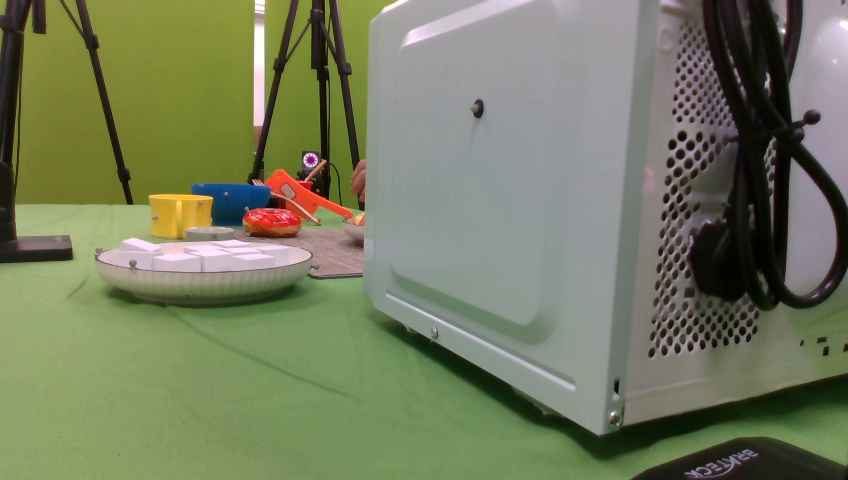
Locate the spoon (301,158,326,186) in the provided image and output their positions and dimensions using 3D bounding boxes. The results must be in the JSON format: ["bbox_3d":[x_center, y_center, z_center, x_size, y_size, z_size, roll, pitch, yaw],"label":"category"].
[{"bbox_3d":[-0.320,-0.160,1.646,0.041,0.022,0.194,8,54,33],"label":"spoon"}]

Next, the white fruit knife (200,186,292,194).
[{"bbox_3d":[-0.399,-0.111,1.368,0.208,0.016,0.027,-4,-19,-30],"label":"white fruit knife"}]

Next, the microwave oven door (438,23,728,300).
[{"bbox_3d":[0.181,-0.072,0.621,0.358,0.243,0.039,-2,8,-29],"label":"microwave oven door"}]

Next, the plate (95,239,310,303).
[{"bbox_3d":[-0.224,0.031,0.629,0.208,0.039,0.207,2,8,0],"label":"plate"}]

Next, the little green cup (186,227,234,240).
[{"bbox_3d":[-0.285,0.005,0.805,0.061,0.038,0.061,2,8,0],"label":"little green cup"}]

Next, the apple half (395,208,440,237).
[{"bbox_3d":[-0.008,-0.037,1.053,0.081,0.033,0.081,14,28,-7],"label":"apple half"}]

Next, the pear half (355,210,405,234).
[{"bbox_3d":[-0.075,-0.035,1.045,0.088,0.031,0.070,4,27,-9],"label":"pear half"}]

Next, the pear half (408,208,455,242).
[{"bbox_3d":[0.017,-0.025,1.000,0.076,0.056,0.110,10,6,19],"label":"pear half"}]

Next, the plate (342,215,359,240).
[{"bbox_3d":[-0.033,-0.014,1.005,0.209,0.038,0.209,2,8,0],"label":"plate"}]

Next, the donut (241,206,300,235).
[{"bbox_3d":[-0.263,-0.032,1.039,0.099,0.048,0.099,4,9,0],"label":"donut"}]

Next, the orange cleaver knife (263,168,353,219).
[{"bbox_3d":[-0.262,-0.088,1.353,0.211,0.077,0.012,28,13,-1],"label":"orange cleaver knife"}]

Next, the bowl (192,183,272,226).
[{"bbox_3d":[-0.381,-0.071,1.202,0.151,0.077,0.151,3,7,0],"label":"bowl"}]

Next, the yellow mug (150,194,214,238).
[{"bbox_3d":[-0.401,-0.040,1.003,0.100,0.064,0.130,0,9,-20],"label":"yellow mug"}]

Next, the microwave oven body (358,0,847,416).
[{"bbox_3d":[0.211,-0.047,0.474,0.444,0.260,0.324,-1,7,-28],"label":"microwave oven body"}]

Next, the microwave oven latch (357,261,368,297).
[{"bbox_3d":[-0.019,0.033,0.530,0.079,0.029,0.030,-1,7,-26],"label":"microwave oven latch"}]

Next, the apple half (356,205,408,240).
[{"bbox_3d":[-0.065,-0.029,0.970,0.081,0.053,0.074,3,6,-27],"label":"apple half"}]

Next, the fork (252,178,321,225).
[{"bbox_3d":[-0.295,-0.084,1.292,0.206,0.018,0.028,29,10,25],"label":"fork"}]
